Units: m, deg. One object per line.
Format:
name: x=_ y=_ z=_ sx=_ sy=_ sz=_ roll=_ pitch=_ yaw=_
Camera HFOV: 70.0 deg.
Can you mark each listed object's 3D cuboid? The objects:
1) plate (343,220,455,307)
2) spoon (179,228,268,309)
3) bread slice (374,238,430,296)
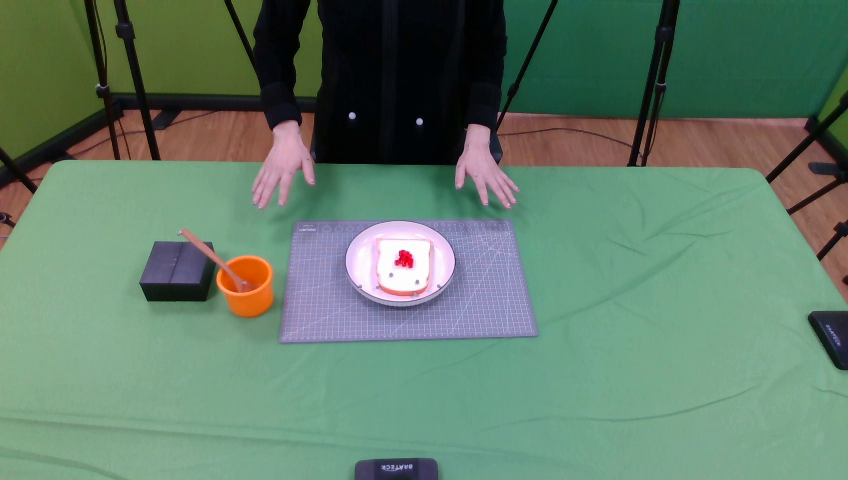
plate: x=-0.047 y=0.046 z=1.135 sx=0.209 sy=0.038 sz=0.208 roll=2 pitch=46 yaw=-2
spoon: x=-0.342 y=0.048 z=1.037 sx=0.021 sy=0.194 sz=0.041 roll=-19 pitch=28 yaw=44
bread slice: x=-0.039 y=0.048 z=1.135 sx=0.107 sy=0.018 sz=0.133 roll=-1 pitch=47 yaw=-4
